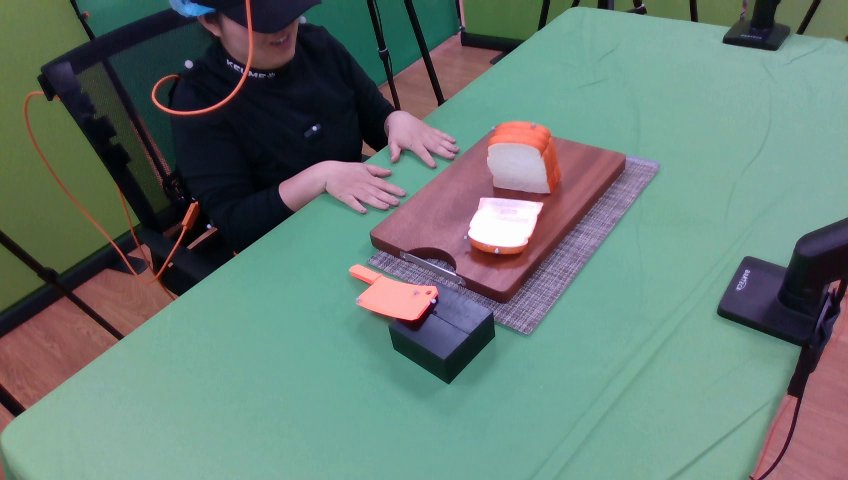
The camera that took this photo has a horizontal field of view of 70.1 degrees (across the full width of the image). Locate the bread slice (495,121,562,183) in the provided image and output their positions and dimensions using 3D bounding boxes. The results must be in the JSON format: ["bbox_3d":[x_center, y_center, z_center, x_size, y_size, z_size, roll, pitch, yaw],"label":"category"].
[{"bbox_3d":[0.170,-0.143,0.997,0.106,0.135,0.018,10,60,21],"label":"bread slice"}]

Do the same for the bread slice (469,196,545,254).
[{"bbox_3d":[0.124,-0.024,0.943,0.104,0.019,0.131,8,39,18],"label":"bread slice"}]

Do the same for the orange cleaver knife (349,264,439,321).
[{"bbox_3d":[-0.061,0.073,0.877,0.077,0.012,0.209,-39,32,-27],"label":"orange cleaver knife"}]
